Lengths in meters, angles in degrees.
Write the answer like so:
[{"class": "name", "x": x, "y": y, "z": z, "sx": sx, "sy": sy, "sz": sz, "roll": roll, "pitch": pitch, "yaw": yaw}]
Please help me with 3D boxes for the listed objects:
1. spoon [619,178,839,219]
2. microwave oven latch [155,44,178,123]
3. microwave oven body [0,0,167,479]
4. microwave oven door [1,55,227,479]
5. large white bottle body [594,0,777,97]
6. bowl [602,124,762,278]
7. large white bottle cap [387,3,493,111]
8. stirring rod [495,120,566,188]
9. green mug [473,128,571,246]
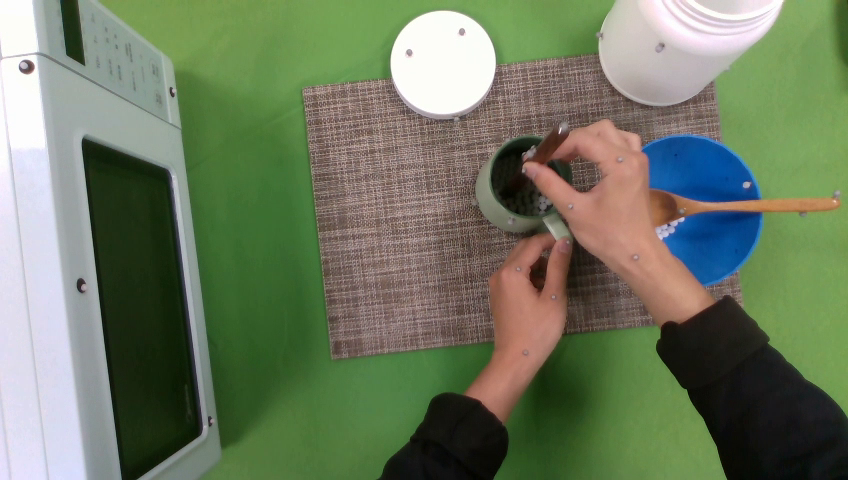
[{"class": "spoon", "x": 0.293, "y": -0.042, "z": 0.593, "sx": 0.193, "sy": 0.022, "sz": 0.041, "roll": 0, "pitch": 92, "yaw": 24}, {"class": "microwave oven latch", "x": -0.281, "y": -0.163, "z": 0.637, "sx": 0.030, "sy": 0.029, "sz": 0.079, "roll": -9, "pitch": 90, "yaw": 0}, {"class": "microwave oven body", "x": -0.406, "y": 0.030, "z": 0.539, "sx": 0.326, "sy": 0.260, "sz": 0.441, "roll": -8, "pitch": 89, "yaw": 0}, {"class": "microwave oven door", "x": -0.255, "y": 0.051, "z": 0.532, "sx": 0.039, "sy": 0.244, "sz": 0.355, "roll": -9, "pitch": 89, "yaw": 1}, {"class": "large white bottle body", "x": 0.246, "y": -0.226, "z": 0.572, "sx": 0.130, "sy": 0.185, "sz": 0.130, "roll": 0, "pitch": 85, "yaw": 1}, {"class": "bowl", "x": 0.250, "y": -0.036, "z": 0.621, "sx": 0.151, "sy": 0.077, "sz": 0.151, "roll": 0, "pitch": 89, "yaw": 1}, {"class": "large white bottle cap", "x": 0.017, "y": -0.198, "z": 0.657, "sx": 0.115, "sy": 0.018, "sz": 0.114, "roll": 0, "pitch": 87, "yaw": 1}, {"class": "stirring rod", "x": 0.089, "y": -0.071, "z": 0.533, "sx": 0.014, "sy": 0.176, "sz": 0.006, "roll": 14, "pitch": 79, "yaw": -5}, {"class": "green mug", "x": 0.107, "y": -0.049, "z": 0.610, "sx": 0.092, "sy": 0.105, "sz": 0.125, "roll": -34, "pitch": 88, "yaw": 0}]
